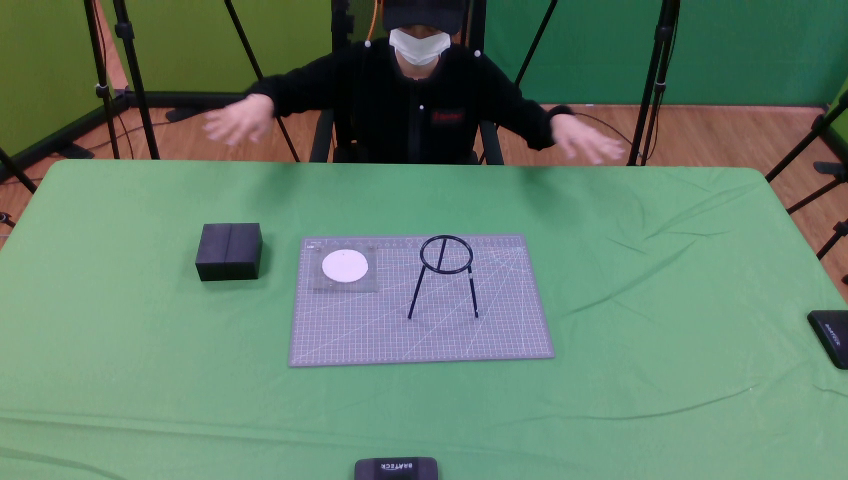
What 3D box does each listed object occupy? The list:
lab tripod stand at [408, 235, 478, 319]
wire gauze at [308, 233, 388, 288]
[{"bbox_3d":[0.032,0.065,1.057,0.148,0.132,0.147,1,45,-1],"label":"lab tripod stand"},{"bbox_3d":[-0.144,0.033,1.140,0.121,0.011,0.124,-16,43,-16],"label":"wire gauze"}]
